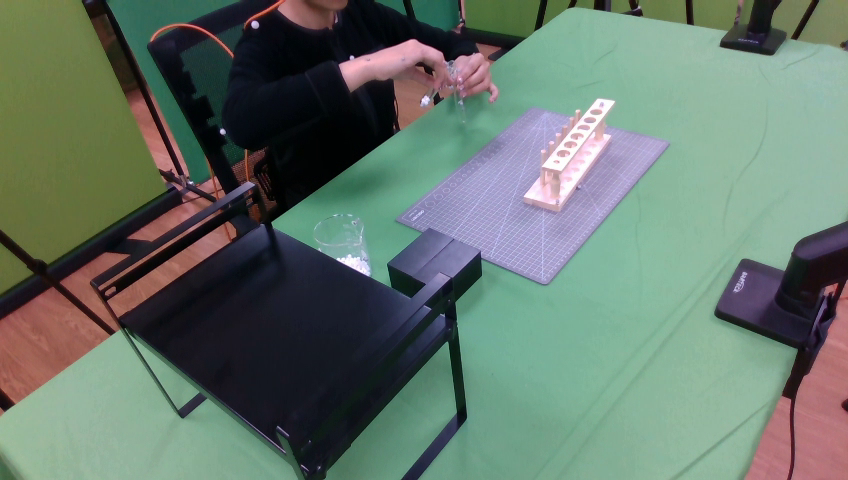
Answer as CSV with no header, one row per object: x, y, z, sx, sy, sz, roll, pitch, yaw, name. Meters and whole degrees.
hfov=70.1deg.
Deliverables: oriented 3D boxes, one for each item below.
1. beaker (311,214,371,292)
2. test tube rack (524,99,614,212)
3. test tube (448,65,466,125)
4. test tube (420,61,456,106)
-0.118,0.022,0.908,0.083,0.101,0.074,26,51,32,beaker
0.259,-0.158,1.069,0.066,0.085,0.243,19,47,28,test tube rack
0.065,-0.276,1.164,0.017,0.151,0.017,-5,57,9,test tube
0.025,-0.272,1.048,0.017,0.017,0.150,10,43,19,test tube
